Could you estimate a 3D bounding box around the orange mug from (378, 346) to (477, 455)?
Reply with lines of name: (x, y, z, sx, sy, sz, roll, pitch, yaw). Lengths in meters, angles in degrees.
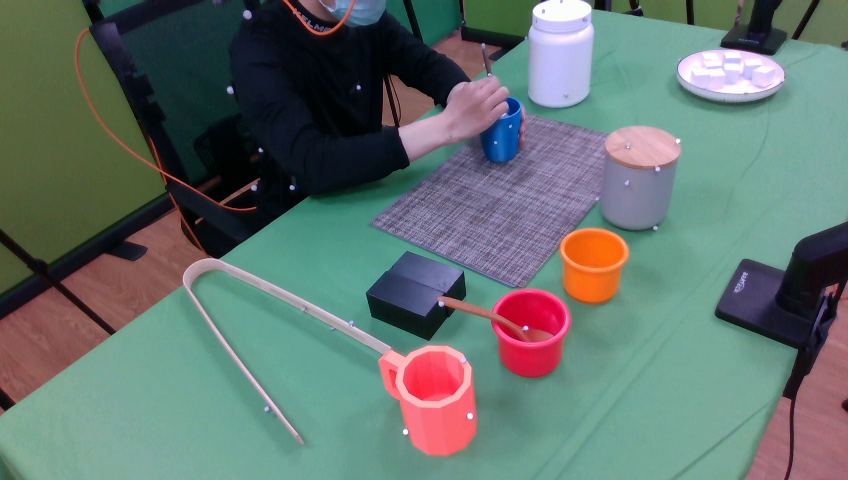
orange mug: (0.002, 0.179, 0.708, 0.125, 0.101, 0.083, 25, 50, 27)

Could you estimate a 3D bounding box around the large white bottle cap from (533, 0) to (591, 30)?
large white bottle cap: (0.274, -0.449, 1.204, 0.115, 0.018, 0.114, -4, 41, 4)

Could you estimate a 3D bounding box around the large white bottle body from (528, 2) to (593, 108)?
large white bottle body: (0.283, -0.386, 1.259, 0.130, 0.185, 0.130, -5, 41, 4)

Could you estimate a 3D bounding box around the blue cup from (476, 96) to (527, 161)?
blue cup: (0.142, -0.205, 1.132, 0.092, 0.100, 0.092, -4, 38, 4)

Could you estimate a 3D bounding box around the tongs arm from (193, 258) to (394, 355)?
tongs arm: (-0.204, 0.100, 0.881, 0.382, 0.027, 0.051, 23, 55, 32)

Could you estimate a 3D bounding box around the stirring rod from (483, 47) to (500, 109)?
stirring rod: (0.128, -0.264, 1.094, 0.006, 0.177, 0.014, -2, 38, 24)

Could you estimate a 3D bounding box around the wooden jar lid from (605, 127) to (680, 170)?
wooden jar lid: (0.327, -0.134, 0.909, 0.108, 0.021, 0.108, -2, 43, 2)

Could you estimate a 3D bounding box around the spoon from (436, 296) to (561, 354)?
spoon: (0.095, 0.102, 0.750, 0.195, 0.021, 0.041, 28, 31, -28)

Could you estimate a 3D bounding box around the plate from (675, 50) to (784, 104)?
plate: (0.632, -0.336, 1.262, 0.207, 0.039, 0.206, -4, 41, 4)

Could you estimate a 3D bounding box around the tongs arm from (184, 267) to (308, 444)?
tongs arm: (-0.259, 0.148, 0.843, 0.028, 0.028, 0.384, -38, 49, -18)

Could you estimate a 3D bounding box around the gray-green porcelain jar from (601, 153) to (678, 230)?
gray-green porcelain jar: (0.334, -0.087, 0.949, 0.106, 0.127, 0.105, -4, 40, 4)
